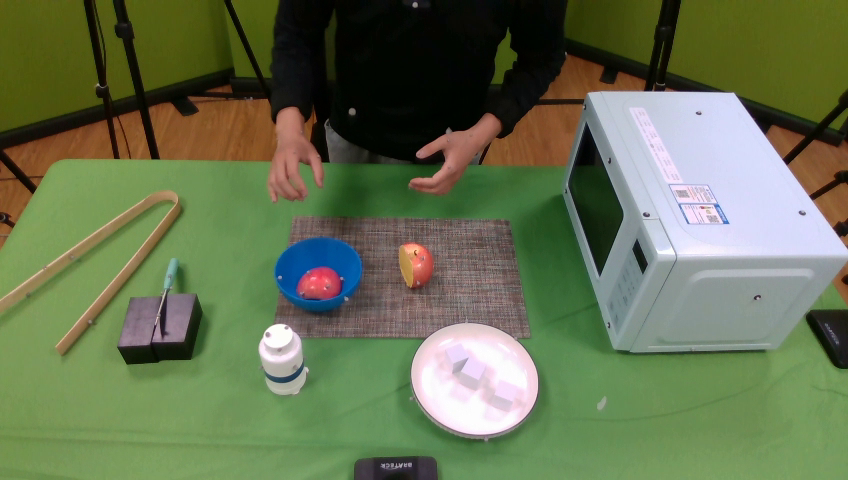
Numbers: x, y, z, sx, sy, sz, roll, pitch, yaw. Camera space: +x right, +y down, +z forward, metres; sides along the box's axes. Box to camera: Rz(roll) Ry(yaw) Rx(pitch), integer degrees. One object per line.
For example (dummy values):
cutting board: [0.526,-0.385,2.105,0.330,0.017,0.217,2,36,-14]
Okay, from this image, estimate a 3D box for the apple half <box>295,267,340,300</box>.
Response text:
apple half: [-0.187,0.070,1.067,0.081,0.033,0.081,3,47,-3]

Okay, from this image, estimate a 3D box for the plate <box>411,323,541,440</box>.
plate: [0.082,0.228,0.976,0.208,0.039,0.206,2,45,-2]

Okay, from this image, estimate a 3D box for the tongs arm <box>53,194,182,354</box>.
tongs arm: [-0.543,0.048,1.107,0.028,0.028,0.385,11,45,10]

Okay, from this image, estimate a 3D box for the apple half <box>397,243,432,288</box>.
apple half: [-0.013,0.047,1.115,0.053,0.075,0.080,-10,43,-21]

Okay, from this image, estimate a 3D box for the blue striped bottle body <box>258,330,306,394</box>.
blue striped bottle body: [-0.220,0.182,0.937,0.063,0.121,0.062,2,46,-2]

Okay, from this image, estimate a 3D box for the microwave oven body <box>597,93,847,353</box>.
microwave oven body: [0.475,-0.041,1.109,0.326,0.261,0.438,-1,45,-4]

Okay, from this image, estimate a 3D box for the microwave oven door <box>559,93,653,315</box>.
microwave oven door: [0.327,-0.074,1.123,0.039,0.245,0.353,-1,46,-5]

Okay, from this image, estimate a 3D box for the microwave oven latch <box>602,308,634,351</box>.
microwave oven latch: [0.332,0.153,1.044,0.030,0.029,0.078,-1,45,-4]

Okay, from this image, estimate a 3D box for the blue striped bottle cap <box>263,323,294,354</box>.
blue striped bottle cap: [-0.217,0.146,0.900,0.044,0.021,0.044,1,46,-1]

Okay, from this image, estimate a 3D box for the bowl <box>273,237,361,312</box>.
bowl: [-0.186,0.074,1.069,0.151,0.077,0.150,3,46,-3]

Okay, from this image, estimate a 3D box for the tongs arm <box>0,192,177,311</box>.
tongs arm: [-0.618,0.019,1.123,0.050,0.026,0.384,23,47,17]

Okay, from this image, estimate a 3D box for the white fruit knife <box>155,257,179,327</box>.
white fruit knife: [-0.440,0.085,1.037,0.016,0.027,0.206,10,26,-19]
